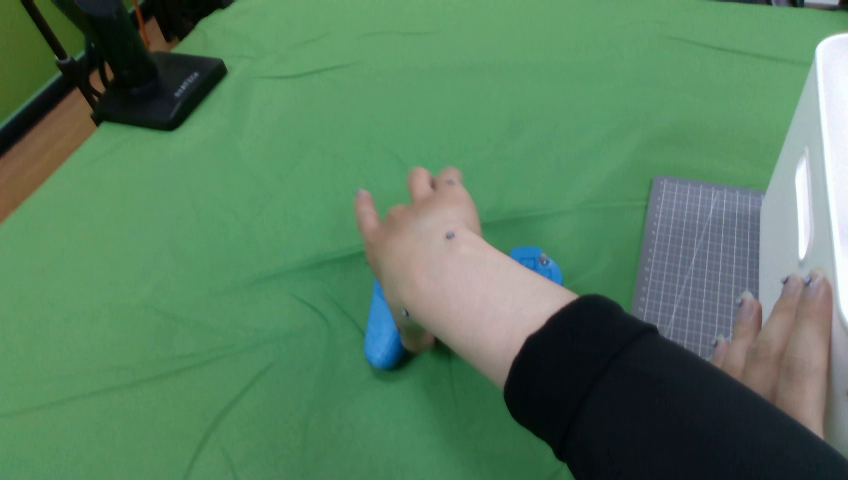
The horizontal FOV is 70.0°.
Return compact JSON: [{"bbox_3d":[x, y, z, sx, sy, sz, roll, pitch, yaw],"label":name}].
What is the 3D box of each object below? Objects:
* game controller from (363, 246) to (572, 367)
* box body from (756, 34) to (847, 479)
[{"bbox_3d":[0.032,0.045,0.462,0.155,0.052,0.096,0,46,6],"label":"game controller"},{"bbox_3d":[0.397,0.035,0.343,0.362,0.162,0.252,11,52,16],"label":"box body"}]
